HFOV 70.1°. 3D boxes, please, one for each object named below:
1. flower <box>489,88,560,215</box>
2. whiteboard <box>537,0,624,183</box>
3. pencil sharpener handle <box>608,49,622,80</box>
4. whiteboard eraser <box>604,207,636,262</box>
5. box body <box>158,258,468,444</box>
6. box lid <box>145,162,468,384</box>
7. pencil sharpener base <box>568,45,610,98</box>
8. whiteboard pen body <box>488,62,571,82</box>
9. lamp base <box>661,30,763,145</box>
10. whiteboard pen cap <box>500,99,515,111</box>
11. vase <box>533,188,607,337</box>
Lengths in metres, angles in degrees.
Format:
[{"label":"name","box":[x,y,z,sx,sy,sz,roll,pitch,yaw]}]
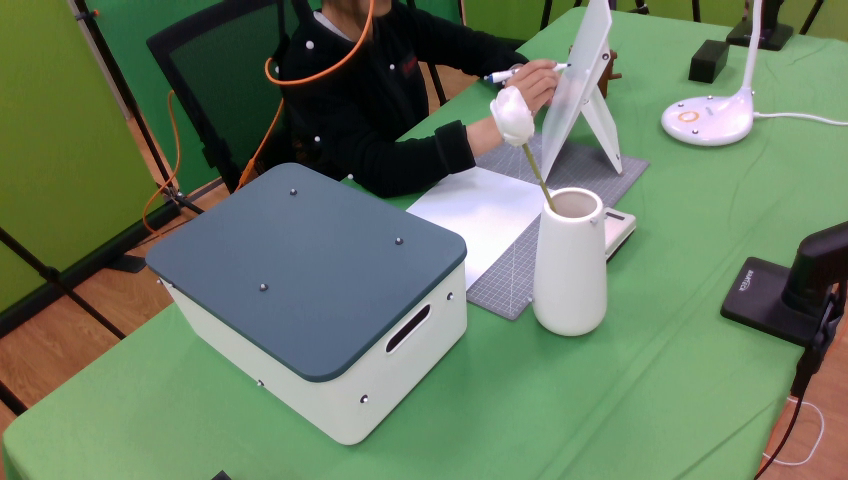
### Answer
[{"label":"flower","box":[0.158,-0.027,0.720,0.038,0.364,0.044,-14,44,23]},{"label":"whiteboard","box":[0.316,-0.256,1.047,0.144,0.306,0.216,15,42,-1]},{"label":"pencil sharpener handle","box":[0.394,-0.368,1.253,0.030,0.068,0.036,-9,31,1]},{"label":"whiteboard eraser","box":[0.272,-0.003,0.919,0.055,0.042,0.113,27,51,32]},{"label":"box body","box":[-0.147,0.072,0.816,0.361,0.161,0.255,24,50,33]},{"label":"box lid","box":[-0.157,0.014,0.769,0.368,0.015,0.264,25,51,33]},{"label":"pencil sharpener base","box":[0.345,-0.352,1.263,0.077,0.107,0.061,-9,40,1]},{"label":"whiteboard pen body","box":[0.179,-0.287,1.025,0.141,0.017,0.017,-9,40,2]},{"label":"lamp base","box":[0.535,-0.287,1.096,0.179,0.181,0.159,-10,40,-4]},{"label":"whiteboard pen cap","box":[0.177,-0.286,1.289,0.033,0.018,0.018,-36,47,-27]},{"label":"vase","box":[0.187,0.033,0.771,0.098,0.201,0.097,-6,41,6]}]
